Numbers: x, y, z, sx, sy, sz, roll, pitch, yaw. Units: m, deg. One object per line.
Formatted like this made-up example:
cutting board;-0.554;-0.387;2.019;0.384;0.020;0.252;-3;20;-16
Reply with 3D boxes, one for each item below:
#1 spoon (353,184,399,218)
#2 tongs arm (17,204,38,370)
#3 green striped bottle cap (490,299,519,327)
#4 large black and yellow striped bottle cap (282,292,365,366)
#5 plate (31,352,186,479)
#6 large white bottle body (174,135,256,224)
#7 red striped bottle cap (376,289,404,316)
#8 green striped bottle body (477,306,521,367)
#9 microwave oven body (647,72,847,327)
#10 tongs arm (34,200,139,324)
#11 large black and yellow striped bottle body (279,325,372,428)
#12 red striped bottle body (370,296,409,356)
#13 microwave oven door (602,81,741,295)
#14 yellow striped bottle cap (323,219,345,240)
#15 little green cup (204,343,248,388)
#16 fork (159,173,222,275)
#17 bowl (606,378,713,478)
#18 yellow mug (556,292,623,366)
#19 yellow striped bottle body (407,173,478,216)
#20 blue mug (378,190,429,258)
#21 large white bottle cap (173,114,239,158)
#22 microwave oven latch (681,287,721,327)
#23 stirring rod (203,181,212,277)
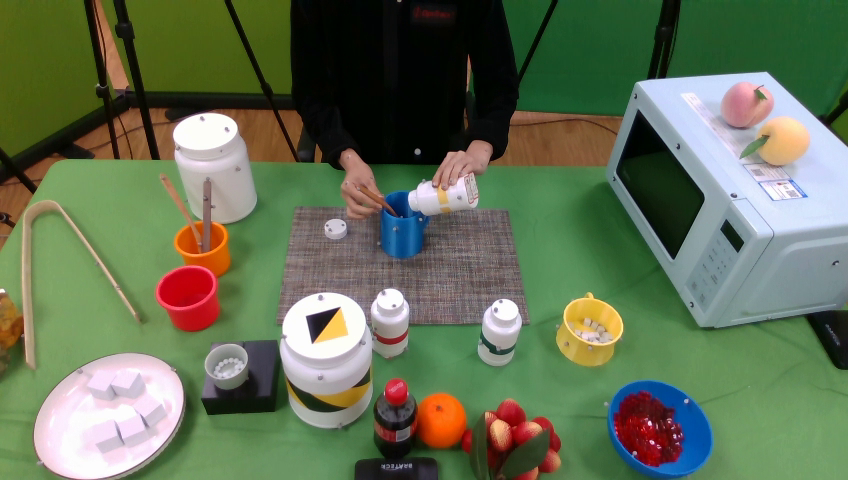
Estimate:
spoon;-0.069;-0.057;1.123;0.021;0.195;0.041;-31;50;14
tongs arm;-0.698;0.069;1.068;0.028;0.028;0.385;-20;50;-13
green striped bottle cap;0.127;0.115;0.958;0.044;0.020;0.044;3;48;-3
large black and yellow striped bottle cap;-0.138;0.121;0.841;0.115;0.019;0.114;3;47;-3
plate;-0.459;0.262;0.898;0.209;0.038;0.208;2;46;-2
large white bottle body;-0.408;-0.137;1.183;0.131;0.185;0.130;2;46;-2
red striped bottle cap;-0.054;0.098;0.958;0.044;0.018;0.044;0;48;0
green striped bottle body;0.124;0.151;0.995;0.063;0.120;0.063;2;46;-1
microwave oven body;0.607;-0.089;1.164;0.326;0.261;0.438;-7;46;-10
tongs arm;-0.622;0.034;1.105;0.051;0.026;0.382;-32;56;-26
large black and yellow striped bottle body;-0.143;0.181;0.900;0.131;0.185;0.130;2;46;-2
red striped bottle body;-0.058;0.134;0.996;0.063;0.120;0.062;4;47;-4
microwave oven door;0.456;-0.107;1.162;0.039;0.245;0.353;-6;47;-11
yellow striped bottle cap;-0.179;-0.022;1.205;0.044;0.019;0.044;3;46;-3
little green cup;-0.294;0.190;0.909;0.061;0.039;0.061;1;48;-1
fork;-0.427;-0.029;1.103;0.028;0.018;0.207;-31;99;-30
bowl;0.340;0.292;0.906;0.151;0.077;0.150;2;46;-2
yellow mug;0.285;0.145;1.051;0.100;0.064;0.130;7;45;3
yellow striped bottle body;0.030;-0.079;1.085;0.120;0.063;0.062;-9;40;26
blue mug;-0.033;-0.038;1.168;0.116;0.106;0.082;-31;56;-28
large white bottle cap;-0.403;-0.195;1.122;0.115;0.018;0.114;2;47;-2
microwave oven latch;0.494;0.119;1.087;0.030;0.029;0.078;-6;46;-9
stirring rod;-0.396;-0.021;1.108;0.014;0.006;0.176;-1;89;-1
